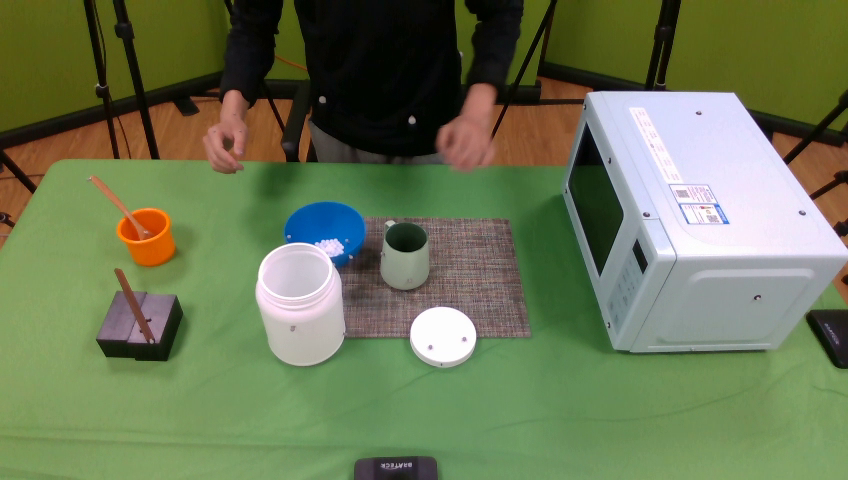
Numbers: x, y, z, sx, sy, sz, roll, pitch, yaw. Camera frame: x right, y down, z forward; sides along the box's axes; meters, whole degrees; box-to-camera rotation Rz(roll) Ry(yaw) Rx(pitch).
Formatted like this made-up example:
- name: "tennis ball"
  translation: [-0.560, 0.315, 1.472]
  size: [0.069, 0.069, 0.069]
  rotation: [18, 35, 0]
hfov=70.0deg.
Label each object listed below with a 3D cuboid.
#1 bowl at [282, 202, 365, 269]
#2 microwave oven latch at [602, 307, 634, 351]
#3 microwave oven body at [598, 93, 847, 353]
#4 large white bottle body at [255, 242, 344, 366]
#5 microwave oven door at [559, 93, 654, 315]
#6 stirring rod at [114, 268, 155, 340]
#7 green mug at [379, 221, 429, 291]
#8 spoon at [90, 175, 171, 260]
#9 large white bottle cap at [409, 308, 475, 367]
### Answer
- name: "bowl"
  translation: [-0.185, 0.006, 1.136]
  size: [0.151, 0.077, 0.150]
  rotation: [3, 46, -3]
- name: "microwave oven latch"
  translation: [0.332, 0.153, 1.044]
  size: [0.030, 0.029, 0.078]
  rotation: [-1, 45, -4]
- name: "microwave oven body"
  translation: [0.475, -0.041, 1.109]
  size: [0.326, 0.261, 0.438]
  rotation: [-1, 45, -4]
- name: "large white bottle body"
  translation: [-0.196, 0.102, 0.967]
  size: [0.131, 0.185, 0.130]
  rotation: [2, 49, -2]
- name: "microwave oven door"
  translation: [0.327, -0.074, 1.123]
  size: [0.039, 0.245, 0.353]
  rotation: [-1, 46, -5]
- name: "stirring rod"
  translation: [-0.479, 0.103, 0.999]
  size: [0.014, 0.006, 0.175]
  rotation: [7, 32, -49]
- name: "green mug"
  translation: [-0.044, 0.020, 1.116]
  size: [0.092, 0.105, 0.124]
  rotation: [-20, 50, -22]
- name: "spoon"
  translation: [-0.539, -0.042, 1.111]
  size: [0.021, 0.194, 0.041]
  rotation: [-14, 27, 52]
- name: "large white bottle cap"
  translation: [0.031, 0.165, 1.041]
  size: [0.115, 0.018, 0.114]
  rotation: [2, 47, -2]
